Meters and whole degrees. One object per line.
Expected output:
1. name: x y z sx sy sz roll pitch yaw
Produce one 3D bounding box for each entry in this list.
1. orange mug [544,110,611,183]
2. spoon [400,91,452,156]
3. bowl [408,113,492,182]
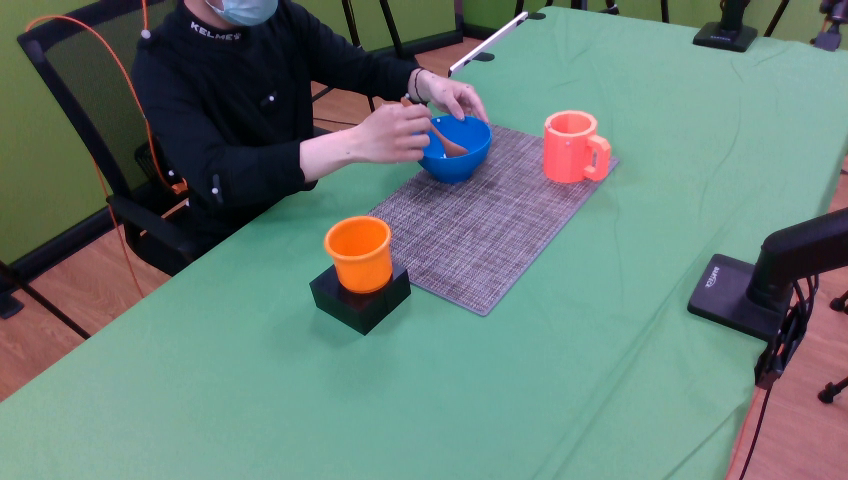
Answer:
1. orange mug: 0.266 -0.157 1.049 0.084 0.101 0.125 -33 42 -26
2. spoon: 0.016 -0.185 1.030 0.021 0.195 0.041 -42 40 -2
3. bowl: 0.049 -0.158 1.097 0.151 0.077 0.150 -4 40 4
